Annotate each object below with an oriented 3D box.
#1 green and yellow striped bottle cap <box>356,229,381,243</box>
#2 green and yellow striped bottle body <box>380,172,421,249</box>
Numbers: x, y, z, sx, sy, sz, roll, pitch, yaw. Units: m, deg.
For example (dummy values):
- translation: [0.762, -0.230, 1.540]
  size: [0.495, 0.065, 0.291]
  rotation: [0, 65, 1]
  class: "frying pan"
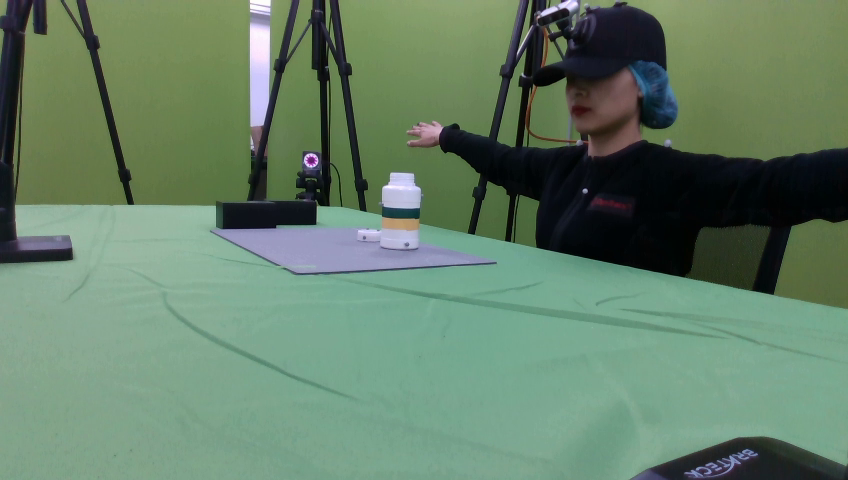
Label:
- translation: [-0.094, -0.007, 1.040]
  size: [0.045, 0.020, 0.045]
  rotation: [4, 6, 0]
  class: "green and yellow striped bottle cap"
- translation: [-0.037, -0.048, 0.959]
  size: [0.063, 0.119, 0.063]
  rotation: [3, 7, 0]
  class: "green and yellow striped bottle body"
